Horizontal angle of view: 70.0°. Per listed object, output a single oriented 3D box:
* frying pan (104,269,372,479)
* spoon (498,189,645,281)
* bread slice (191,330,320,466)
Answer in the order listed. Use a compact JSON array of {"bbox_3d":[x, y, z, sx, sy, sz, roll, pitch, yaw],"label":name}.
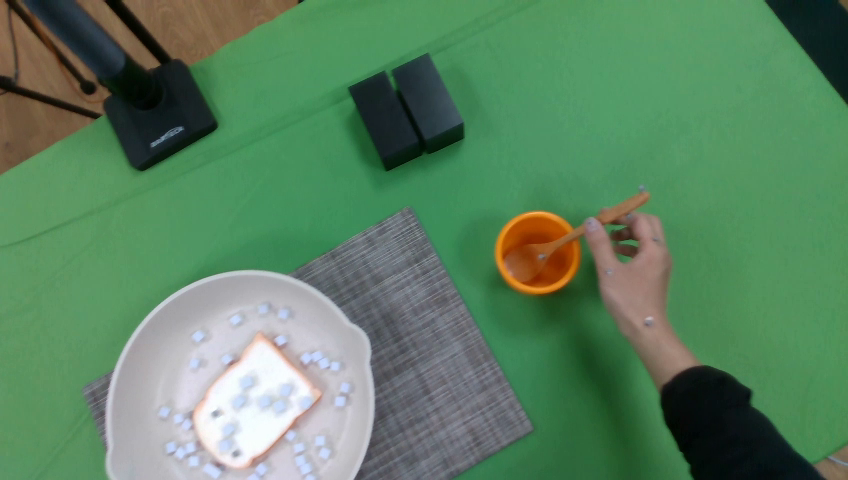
[{"bbox_3d":[-0.153,0.267,0.639,0.307,0.103,0.484,-27,70,-1],"label":"frying pan"},{"bbox_3d":[0.154,-0.004,0.654,0.022,0.194,0.041,-14,75,-45],"label":"spoon"},{"bbox_3d":[-0.198,0.189,0.698,0.106,0.018,0.134,39,82,10],"label":"bread slice"}]
